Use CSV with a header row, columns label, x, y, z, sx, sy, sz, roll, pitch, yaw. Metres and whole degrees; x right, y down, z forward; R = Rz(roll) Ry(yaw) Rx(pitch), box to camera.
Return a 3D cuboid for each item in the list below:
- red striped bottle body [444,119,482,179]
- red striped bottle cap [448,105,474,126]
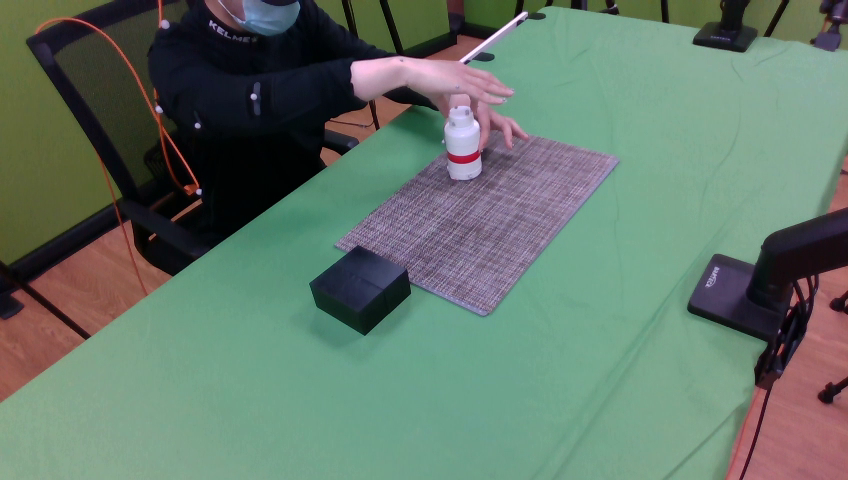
label,x,y,z,sx,sy,sz,roll,pitch,yaw
red striped bottle body,0.069,-0.172,1.076,0.063,0.120,0.062,-4,43,4
red striped bottle cap,0.063,-0.215,1.039,0.044,0.018,0.044,-3,43,4
